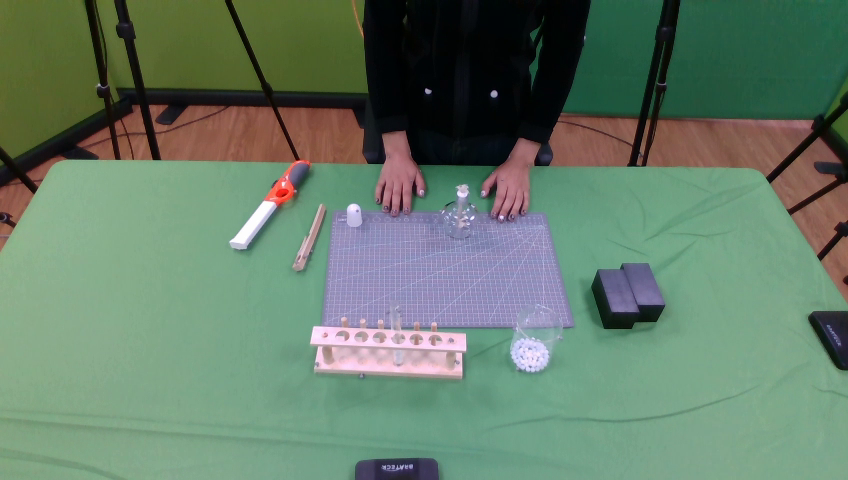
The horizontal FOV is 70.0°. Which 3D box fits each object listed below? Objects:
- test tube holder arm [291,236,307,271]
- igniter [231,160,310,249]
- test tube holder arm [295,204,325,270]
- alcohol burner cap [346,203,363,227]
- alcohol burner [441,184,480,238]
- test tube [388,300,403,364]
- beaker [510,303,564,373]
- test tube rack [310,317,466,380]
[{"bbox_3d":[-0.234,0.024,1.163,0.010,0.015,0.087,-17,38,28],"label":"test tube holder arm"},{"bbox_3d":[-0.311,-0.081,1.250,0.057,0.025,0.275,9,45,18],"label":"igniter"},{"bbox_3d":[-0.222,-0.009,1.192,0.013,0.015,0.177,-18,38,27],"label":"test tube holder arm"},{"bbox_3d":[-0.141,-0.053,1.222,0.034,0.048,0.033,1,47,-1],"label":"alcohol burner cap"},{"bbox_3d":[0.073,-0.061,1.195,0.078,0.120,0.077,1,47,-1],"label":"alcohol burner"},{"bbox_3d":[-0.044,0.146,0.942,0.017,0.151,0.017,-1,44,1],"label":"test tube"},{"bbox_3d":[0.182,0.164,1.000,0.074,0.101,0.083,2,46,-1],"label":"beaker"},{"bbox_3d":[-0.056,0.171,0.987,0.242,0.085,0.066,3,45,-1],"label":"test tube rack"}]
